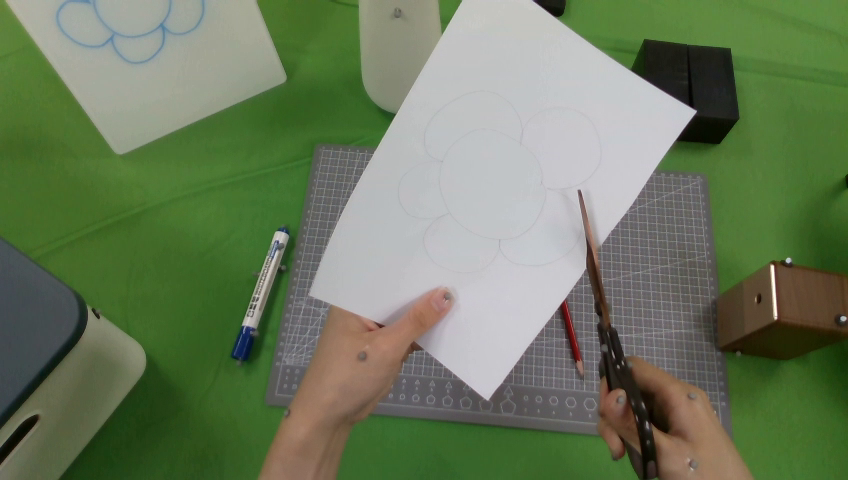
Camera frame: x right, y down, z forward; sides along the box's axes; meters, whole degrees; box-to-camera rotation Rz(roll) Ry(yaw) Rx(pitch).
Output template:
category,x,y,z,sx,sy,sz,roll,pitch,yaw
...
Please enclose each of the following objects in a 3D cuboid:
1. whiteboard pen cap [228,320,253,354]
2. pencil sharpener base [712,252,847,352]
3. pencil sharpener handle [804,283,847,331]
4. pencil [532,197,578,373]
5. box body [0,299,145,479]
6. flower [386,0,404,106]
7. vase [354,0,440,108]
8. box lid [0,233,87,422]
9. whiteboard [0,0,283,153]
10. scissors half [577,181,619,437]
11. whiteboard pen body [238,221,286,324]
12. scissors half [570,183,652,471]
category,x,y,z,sx,sy,sz,roll,pitch,yaw
whiteboard pen cap,-0.181,0.096,0.604,0.018,0.018,0.033,11,63,5
pencil sharpener base,0.334,0.062,0.575,0.077,0.107,0.061,9,66,0
pencil sharpener handle,0.385,0.067,0.563,0.030,0.068,0.035,9,61,0
pencil,0.138,0.043,0.634,0.012,0.012,0.192,-8,69,-3
box body,-0.473,0.090,0.529,0.362,0.161,0.253,30,70,12
flower,-0.037,-0.278,0.577,0.044,0.365,0.038,-2,49,3
vase,-0.031,-0.232,0.648,0.098,0.201,0.097,0,66,1
box lid,-0.475,0.059,0.461,0.370,0.015,0.262,30,70,11
whiteboard,-0.321,-0.290,0.646,0.217,0.308,0.142,-28,50,-11
scissors half,0.111,0.047,0.384,0.013,0.040,0.176,-12,109,6
whiteboard pen body,-0.170,0.043,0.628,0.017,0.017,0.140,11,65,5
scissors half,0.110,0.049,0.361,0.013,0.040,0.174,-12,79,1
